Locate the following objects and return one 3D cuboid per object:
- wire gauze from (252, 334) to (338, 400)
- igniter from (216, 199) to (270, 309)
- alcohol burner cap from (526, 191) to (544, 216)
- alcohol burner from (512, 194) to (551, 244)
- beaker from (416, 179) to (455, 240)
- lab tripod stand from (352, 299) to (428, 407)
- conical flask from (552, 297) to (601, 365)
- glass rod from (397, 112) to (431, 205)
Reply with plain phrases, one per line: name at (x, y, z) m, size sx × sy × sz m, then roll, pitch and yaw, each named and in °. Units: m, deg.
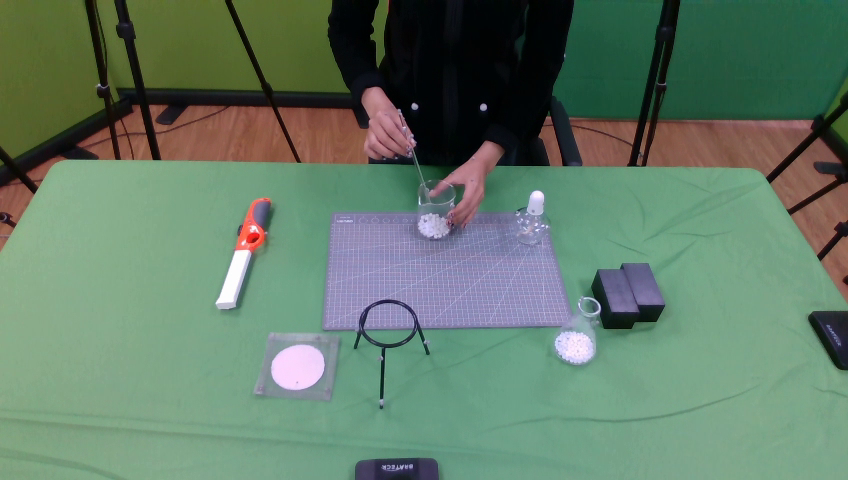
wire gauze at (-0.209, 0.204, 0.996) m, size 0.125 × 0.011 × 0.120 m, roll 3°, pitch 45°, yaw 1°
igniter at (-0.342, 0.016, 1.153) m, size 0.057 × 0.025 × 0.275 m, roll -3°, pitch 45°, yaw 7°
alcohol burner cap at (0.216, -0.073, 1.170) m, size 0.034 × 0.048 × 0.033 m, roll 0°, pitch 42°, yaw 0°
alcohol burner at (0.215, -0.048, 1.196) m, size 0.078 × 0.119 × 0.077 m, roll 4°, pitch 46°, yaw -4°
beaker at (0.018, -0.056, 1.188) m, size 0.073 × 0.101 × 0.084 m, roll 34°, pitch 52°, yaw 27°
lab tripod stand at (-0.056, 0.166, 0.958) m, size 0.148 × 0.132 × 0.147 m, roll 3°, pitch 44°, yaw -2°
conical flask at (0.261, 0.147, 1.009) m, size 0.075 × 0.122 × 0.075 m, roll 2°, pitch 46°, yaw -2°
glass rod at (-0.017, -0.144, 1.107) m, size 0.008 × 0.201 × 0.008 m, roll -13°, pitch 36°, yaw 10°
